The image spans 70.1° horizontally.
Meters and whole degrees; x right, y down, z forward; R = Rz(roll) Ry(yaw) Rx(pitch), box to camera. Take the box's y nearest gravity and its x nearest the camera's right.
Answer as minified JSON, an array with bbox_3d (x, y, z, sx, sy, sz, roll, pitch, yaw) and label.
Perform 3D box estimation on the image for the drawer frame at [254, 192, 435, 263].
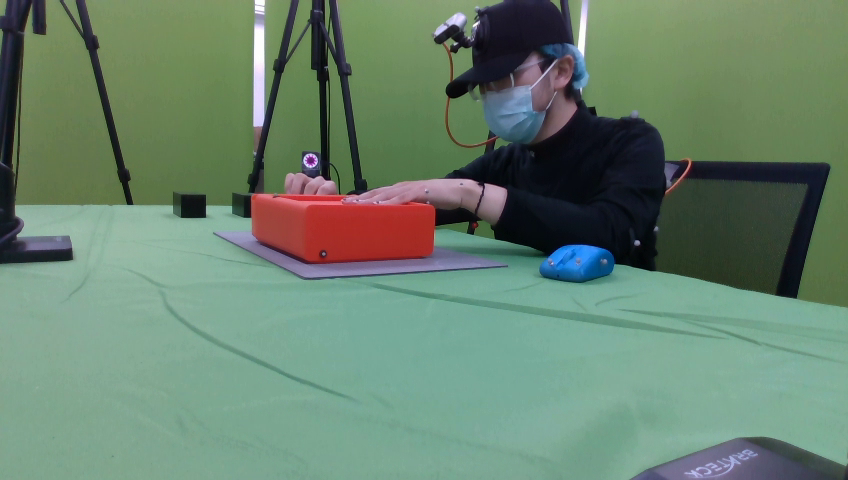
[{"bbox_3d":[-0.124,-0.025,0.904,0.203,0.082,0.212,-1,9,-33],"label":"drawer frame"}]

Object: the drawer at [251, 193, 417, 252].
[{"bbox_3d":[-0.143,-0.030,0.936,0.195,0.073,0.210,-1,8,-31],"label":"drawer"}]

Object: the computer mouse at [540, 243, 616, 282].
[{"bbox_3d":[0.204,0.028,0.797,0.062,0.041,0.118,11,15,38],"label":"computer mouse"}]
